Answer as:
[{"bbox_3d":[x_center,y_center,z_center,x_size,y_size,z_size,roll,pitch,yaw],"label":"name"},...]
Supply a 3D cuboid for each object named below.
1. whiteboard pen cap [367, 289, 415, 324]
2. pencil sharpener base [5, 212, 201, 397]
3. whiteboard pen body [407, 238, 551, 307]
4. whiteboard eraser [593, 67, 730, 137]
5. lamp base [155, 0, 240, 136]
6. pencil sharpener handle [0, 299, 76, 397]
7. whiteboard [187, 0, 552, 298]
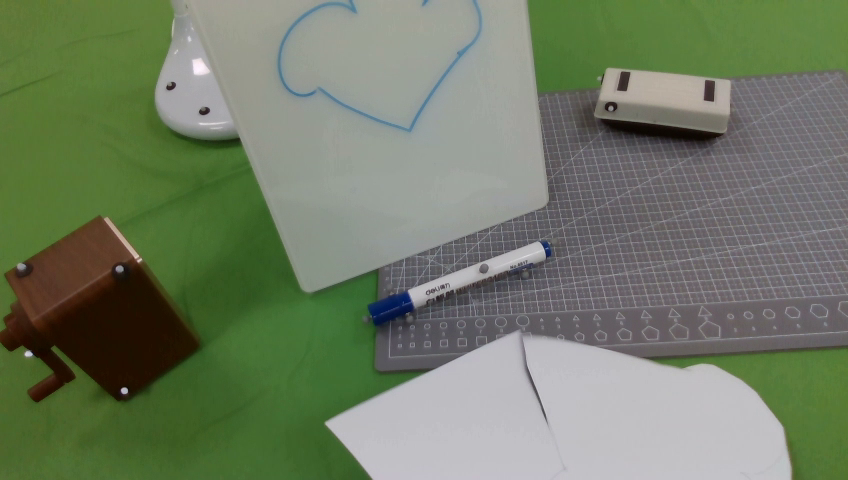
[{"bbox_3d":[-0.024,0.049,0.445,0.033,0.018,0.018,-21,52,-9],"label":"whiteboard pen cap"},{"bbox_3d":[-0.215,0.048,0.413,0.076,0.108,0.061,-38,57,-22],"label":"pencil sharpener base"},{"bbox_3d":[0.031,0.028,0.454,0.141,0.017,0.017,-20,52,-9],"label":"whiteboard pen body"},{"bbox_3d":[0.214,-0.125,0.548,0.112,0.042,0.055,11,54,14],"label":"whiteboard eraser"},{"bbox_3d":[-0.216,-0.218,0.582,0.177,0.182,0.160,30,60,30],"label":"lamp base"},{"bbox_3d":[-0.251,0.071,0.382,0.030,0.068,0.035,-38,44,-22],"label":"pencil sharpener handle"},{"bbox_3d":[-0.045,-0.149,0.465,0.217,0.308,0.142,-20,32,-9],"label":"whiteboard"}]
